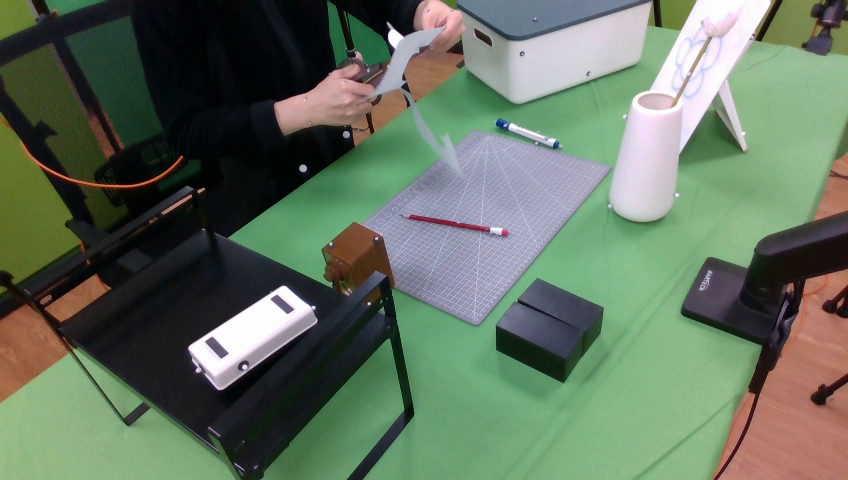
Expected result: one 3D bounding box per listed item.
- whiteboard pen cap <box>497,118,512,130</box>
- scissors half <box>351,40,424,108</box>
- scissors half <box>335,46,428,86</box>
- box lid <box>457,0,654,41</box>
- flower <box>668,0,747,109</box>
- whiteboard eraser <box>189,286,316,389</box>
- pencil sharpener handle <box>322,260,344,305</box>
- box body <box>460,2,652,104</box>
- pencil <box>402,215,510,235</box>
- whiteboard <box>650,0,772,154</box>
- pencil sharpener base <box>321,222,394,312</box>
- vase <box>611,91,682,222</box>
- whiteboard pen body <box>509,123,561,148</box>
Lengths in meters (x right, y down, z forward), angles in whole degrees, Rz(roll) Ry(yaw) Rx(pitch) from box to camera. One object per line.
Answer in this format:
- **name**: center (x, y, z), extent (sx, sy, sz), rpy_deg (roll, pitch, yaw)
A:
- **whiteboard pen cap**: center (0.165, -0.235, 1.227), extent (0.033, 0.018, 0.018), rpy_deg (31, 53, 31)
- **scissors half**: center (-0.055, -0.254, 0.929), extent (0.174, 0.040, 0.013), rpy_deg (-34, 16, 43)
- **scissors half**: center (-0.068, -0.270, 0.921), extent (0.174, 0.040, 0.013), rpy_deg (-6, 39, 31)
- **box lid**: center (0.285, -0.522, 1.323), extent (0.373, 0.015, 0.261), rpy_deg (-22, 43, -16)
- **flower**: center (0.354, -0.187, 0.879), extent (0.038, 0.362, 0.044), rpy_deg (30, 48, 14)
- **whiteboard eraser**: center (-0.166, 0.096, 0.593), extent (0.113, 0.042, 0.055), rpy_deg (-36, 47, -29)
- **pencil sharpener handle**: center (-0.131, 0.061, 0.839), extent (0.035, 0.068, 0.031), rpy_deg (29, 56, 27)
- **box body**: center (0.291, -0.465, 1.371), extent (0.365, 0.161, 0.252), rpy_deg (-22, 42, -16)
- **pencil**: center (0.049, -0.027, 1.007), extent (0.193, 0.012, 0.012), rpy_deg (10, 43, 21)
- **whiteboard**: center (0.543, -0.298, 1.076), extent (0.144, 0.305, 0.216), rpy_deg (12, 40, -7)
- **pencil sharpener base**: center (-0.096, 0.041, 0.873), extent (0.061, 0.107, 0.077), rpy_deg (26, 54, 32)
- **vase**: center (0.348, -0.125, 0.935), extent (0.098, 0.201, 0.097), rpy_deg (-3, 40, 3)
- **whiteboard pen body**: center (0.209, -0.211, 1.196), extent (0.139, 0.017, 0.017), rpy_deg (30, 52, 33)
